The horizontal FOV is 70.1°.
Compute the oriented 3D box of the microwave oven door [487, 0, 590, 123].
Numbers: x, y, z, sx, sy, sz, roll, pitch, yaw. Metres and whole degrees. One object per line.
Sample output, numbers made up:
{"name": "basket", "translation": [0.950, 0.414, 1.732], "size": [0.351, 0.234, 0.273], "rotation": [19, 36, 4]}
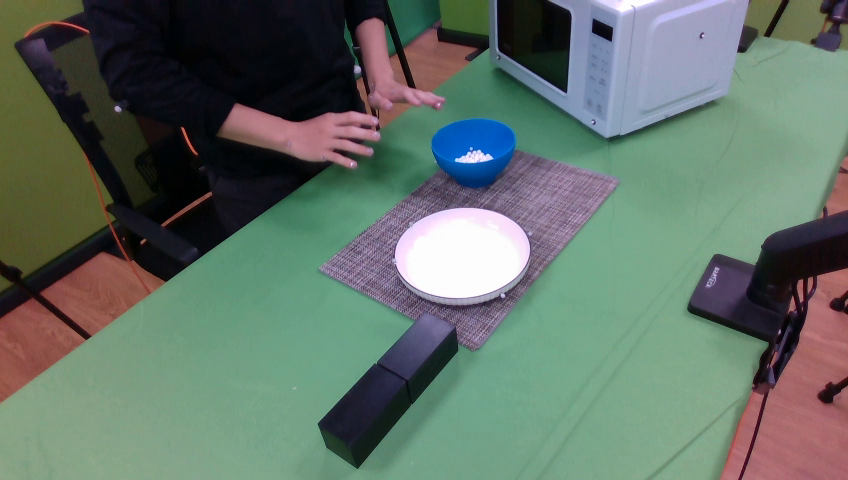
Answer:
{"name": "microwave oven door", "translation": [0.232, -0.420, 1.230], "size": [0.039, 0.245, 0.352], "rotation": [-22, 43, -16]}

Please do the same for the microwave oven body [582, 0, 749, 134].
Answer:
{"name": "microwave oven body", "translation": [0.382, -0.444, 1.246], "size": [0.327, 0.261, 0.437], "rotation": [-22, 42, -16]}

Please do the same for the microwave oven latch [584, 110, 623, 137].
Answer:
{"name": "microwave oven latch", "translation": [0.337, -0.222, 1.142], "size": [0.030, 0.029, 0.078], "rotation": [-21, 42, -15]}

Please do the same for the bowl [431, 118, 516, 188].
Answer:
{"name": "bowl", "translation": [0.090, -0.147, 1.080], "size": [0.151, 0.077, 0.150], "rotation": [-4, 40, 4]}

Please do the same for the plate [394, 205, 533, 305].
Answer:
{"name": "plate", "translation": [0.059, 0.025, 0.915], "size": [0.207, 0.039, 0.206], "rotation": [-4, 41, 4]}
